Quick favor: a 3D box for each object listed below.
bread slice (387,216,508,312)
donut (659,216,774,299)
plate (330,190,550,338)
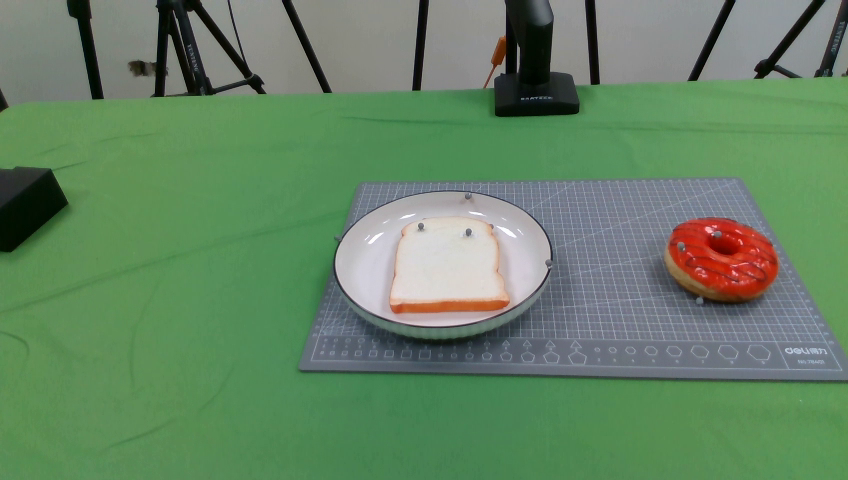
[{"bbox_3d":[0.018,0.020,0.588,0.107,0.018,0.133,-3,38,-1],"label":"bread slice"},{"bbox_3d":[0.270,0.016,0.561,0.099,0.048,0.098,-1,39,1],"label":"donut"},{"bbox_3d":[0.016,0.022,0.584,0.209,0.038,0.207,-2,37,2],"label":"plate"}]
